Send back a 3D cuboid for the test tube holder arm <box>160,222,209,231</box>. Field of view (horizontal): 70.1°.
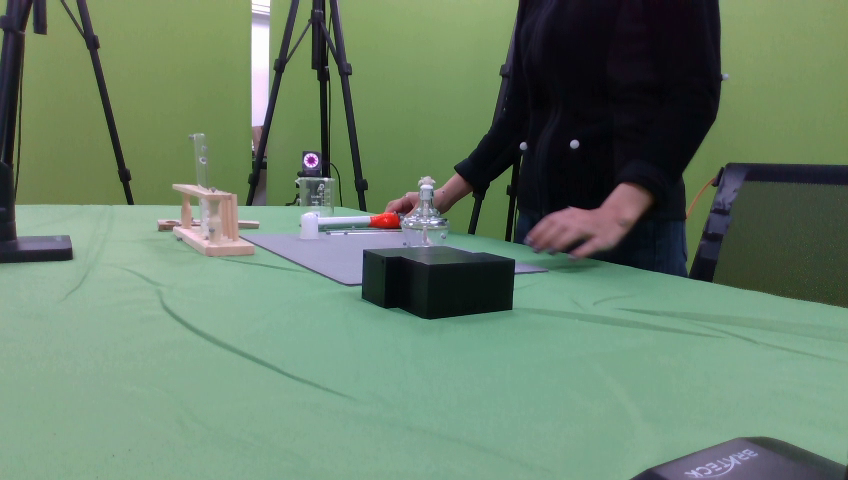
[{"bbox_3d":[-0.423,-0.024,1.076,0.088,0.015,0.010,-3,44,-38],"label":"test tube holder arm"}]

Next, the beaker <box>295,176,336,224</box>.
[{"bbox_3d":[-0.224,-0.080,1.247,0.084,0.100,0.073,-1,8,-18],"label":"beaker"}]

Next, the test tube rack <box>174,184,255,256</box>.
[{"bbox_3d":[-0.327,-0.036,0.928,0.067,0.085,0.241,-2,9,-32],"label":"test tube rack"}]

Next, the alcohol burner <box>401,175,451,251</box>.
[{"bbox_3d":[0.003,-0.042,0.947,0.078,0.119,0.078,1,9,0],"label":"alcohol burner"}]

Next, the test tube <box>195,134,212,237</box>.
[{"bbox_3d":[-0.320,-0.079,0.880,0.017,0.150,0.017,-3,3,1],"label":"test tube"}]

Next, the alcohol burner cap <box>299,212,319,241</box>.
[{"bbox_3d":[-0.195,-0.024,1.025,0.034,0.048,0.034,3,7,0],"label":"alcohol burner cap"}]

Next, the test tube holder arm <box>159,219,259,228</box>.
[{"bbox_3d":[-0.390,-0.030,1.107,0.179,0.015,0.013,-3,45,-39],"label":"test tube holder arm"}]

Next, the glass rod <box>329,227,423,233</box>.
[{"bbox_3d":[-0.087,-0.019,1.148,0.201,0.008,0.008,-3,8,-32],"label":"glass rod"}]

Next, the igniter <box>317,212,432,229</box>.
[{"bbox_3d":[-0.104,-0.040,1.228,0.278,0.025,0.057,-4,-20,-34],"label":"igniter"}]
